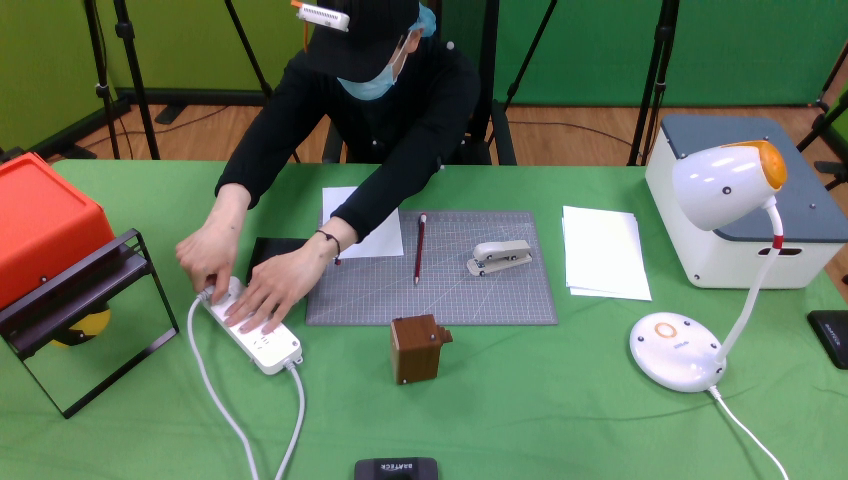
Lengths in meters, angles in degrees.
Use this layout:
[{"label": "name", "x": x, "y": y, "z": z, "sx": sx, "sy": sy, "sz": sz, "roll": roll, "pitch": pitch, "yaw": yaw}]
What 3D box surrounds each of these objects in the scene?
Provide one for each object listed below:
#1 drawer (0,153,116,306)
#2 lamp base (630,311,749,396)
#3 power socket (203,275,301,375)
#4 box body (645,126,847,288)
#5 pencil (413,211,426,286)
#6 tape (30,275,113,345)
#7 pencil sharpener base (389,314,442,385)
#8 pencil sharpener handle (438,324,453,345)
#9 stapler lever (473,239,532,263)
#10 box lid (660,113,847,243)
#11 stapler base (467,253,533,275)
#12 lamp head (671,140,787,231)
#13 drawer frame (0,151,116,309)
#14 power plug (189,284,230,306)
[{"label": "drawer", "x": -0.601, "y": -0.015, "z": 0.880, "sx": 0.193, "sy": 0.073, "sz": 0.211, "roll": 32, "pitch": 53, "yaw": 23}, {"label": "lamp base", "x": 0.447, "y": 0.143, "z": 0.983, "sx": 0.161, "sy": 0.181, "sz": 0.178, "roll": -24, "pitch": 55, "yaw": -24}, {"label": "power socket", "x": -0.297, "y": 0.141, "z": 1.034, "sx": 0.072, "sy": 0.033, "sz": 0.225, "roll": -34, "pitch": 58, "yaw": -30}, {"label": "box body", "x": 0.625, "y": -0.080, "z": 1.222, "sx": 0.254, "sy": 0.161, "sz": 0.361, "roll": 0, "pitch": 46, "yaw": -3}, {"label": "pencil", "x": -0.009, "y": 0.014, "z": 1.191, "sx": 0.012, "sy": 0.012, "sz": 0.193, "roll": 6, "pitch": 49, "yaw": 2}, {"label": "tape", "x": -0.593, "y": 0.117, "z": 1.021, "sx": 0.117, "sy": 0.053, "sz": 0.116, "roll": 2, "pitch": 46, "yaw": -2}, {"label": "pencil sharpener base", "x": -0.013, "y": 0.175, "z": 0.971, "sx": 0.077, "sy": 0.107, "sz": 0.061, "roll": -8, "pitch": 47, "yaw": -12}, {"label": "pencil sharpener handle", "x": 0.036, "y": 0.155, "z": 0.976, "sx": 0.031, "sy": 0.068, "sz": 0.036, "roll": -8, "pitch": 70, "yaw": -11}, {"label": "stapler lever", "x": 0.150, "y": 0.017, "z": 1.155, "sx": 0.118, "sy": 0.040, "sz": 0.026, "roll": -13, "pitch": 49, "yaw": -17}, {"label": "box lid", "x": 0.628, "y": -0.132, "z": 1.170, "sx": 0.263, "sy": 0.015, "sz": 0.369, "roll": 1, "pitch": 46, "yaw": -3}, {"label": "stapler base", "x": 0.147, "y": 0.034, "z": 1.172, "sx": 0.131, "sy": 0.024, "sz": 0.041, "roll": -12, "pitch": 49, "yaw": -17}, {"label": "lamp head", "x": 0.415, "y": -0.078, "z": 0.811, "sx": 0.113, "sy": 0.123, "sz": 0.112, "roll": 12, "pitch": 70, "yaw": -37}, {"label": "drawer frame", "x": -0.604, "y": -0.013, "z": 0.876, "sx": 0.201, "sy": 0.083, "sz": 0.213, "roll": 31, "pitch": 52, "yaw": 23}, {"label": "power plug", "x": -0.369, "y": 0.099, "z": 1.036, "sx": 0.072, "sy": 0.053, "sz": 0.035, "roll": -23, "pitch": 57, "yaw": -27}]
